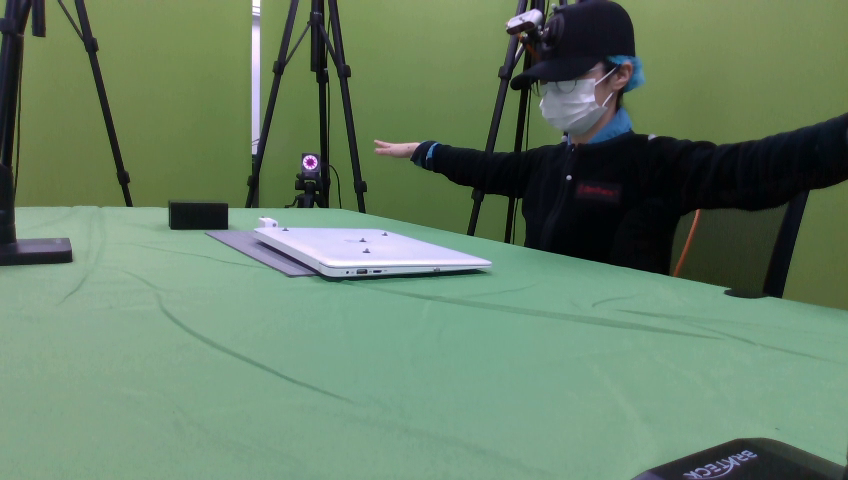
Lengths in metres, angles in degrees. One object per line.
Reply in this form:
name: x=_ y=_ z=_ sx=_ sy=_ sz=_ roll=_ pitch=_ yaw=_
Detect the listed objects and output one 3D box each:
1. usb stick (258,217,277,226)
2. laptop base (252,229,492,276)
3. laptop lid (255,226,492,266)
usb stick: x=-0.261 y=-0.022 z=1.016 sx=0.021 sy=0.027 sz=0.059 roll=0 pitch=13 yaw=-30
laptop base: x=-0.094 y=0.015 z=0.889 sx=0.237 sy=0.023 sz=0.352 roll=2 pitch=7 yaw=-30
laptop lid: x=-0.092 y=0.003 z=0.888 sx=0.243 sy=0.013 sz=0.355 roll=1 pitch=8 yaw=-28
